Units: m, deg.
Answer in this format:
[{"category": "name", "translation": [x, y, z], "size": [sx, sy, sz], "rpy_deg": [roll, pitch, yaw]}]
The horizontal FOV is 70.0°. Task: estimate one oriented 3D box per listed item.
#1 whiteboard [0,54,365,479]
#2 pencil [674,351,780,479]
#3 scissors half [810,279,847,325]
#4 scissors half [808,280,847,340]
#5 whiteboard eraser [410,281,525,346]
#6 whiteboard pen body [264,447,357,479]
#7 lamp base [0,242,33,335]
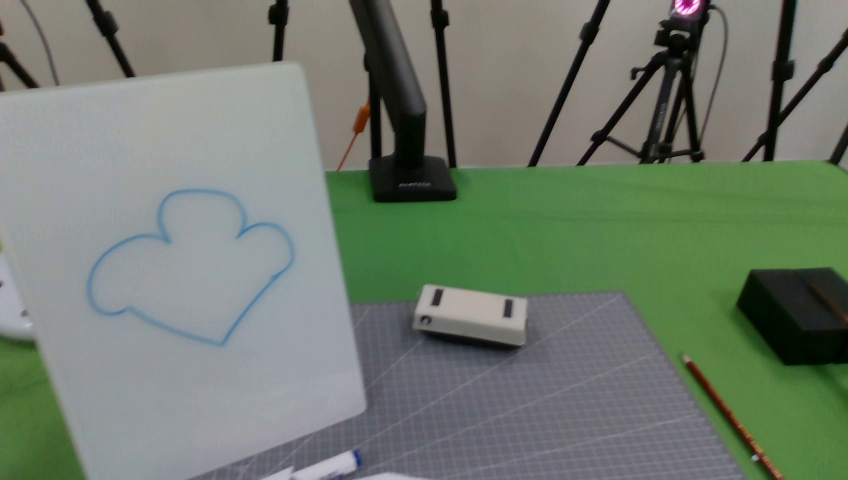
[{"category": "whiteboard", "translation": [-0.194, 0.018, 0.501], "size": [0.218, 0.307, 0.142], "rpy_deg": [-15, 19, -24]}, {"category": "pencil", "translation": [0.278, 0.167, 0.548], "size": [0.012, 0.012, 0.192], "rpy_deg": [-4, 33, -11]}, {"category": "scissors half", "translation": [0.424, 0.108, 0.595], "size": [0.013, 0.040, 0.173], "rpy_deg": [-9, 52, 1]}, {"category": "scissors half", "translation": [0.422, 0.094, 0.580], "size": [0.013, 0.040, 0.173], "rpy_deg": [-5, 34, -3]}, {"category": "whiteboard eraser", "translation": [0.046, 0.076, 0.619], "size": [0.112, 0.042, 0.055], "rpy_deg": [9, 35, 7]}, {"category": "whiteboard pen body", "translation": [-0.117, 0.187, 0.454], "size": [0.141, 0.017, 0.017], "rpy_deg": [-15, 39, -24]}, {"category": "lamp base", "translation": [-0.384, -0.024, 0.600], "size": [0.178, 0.181, 0.160], "rpy_deg": [21, 38, 27]}]
